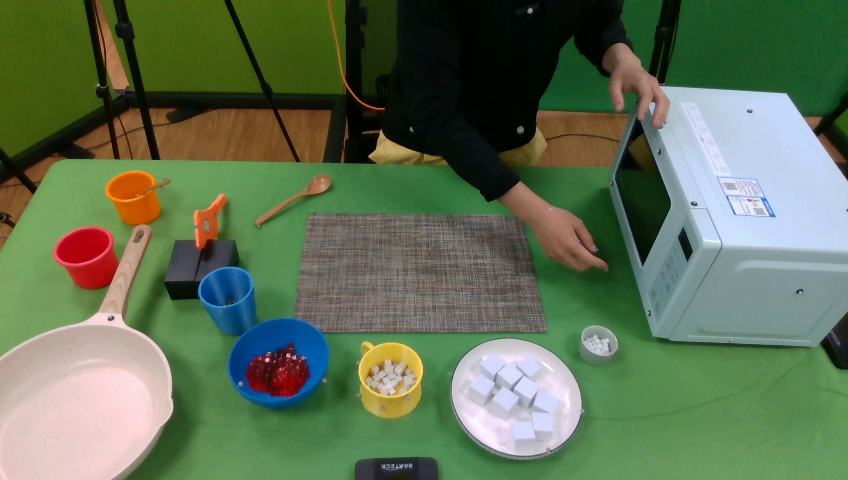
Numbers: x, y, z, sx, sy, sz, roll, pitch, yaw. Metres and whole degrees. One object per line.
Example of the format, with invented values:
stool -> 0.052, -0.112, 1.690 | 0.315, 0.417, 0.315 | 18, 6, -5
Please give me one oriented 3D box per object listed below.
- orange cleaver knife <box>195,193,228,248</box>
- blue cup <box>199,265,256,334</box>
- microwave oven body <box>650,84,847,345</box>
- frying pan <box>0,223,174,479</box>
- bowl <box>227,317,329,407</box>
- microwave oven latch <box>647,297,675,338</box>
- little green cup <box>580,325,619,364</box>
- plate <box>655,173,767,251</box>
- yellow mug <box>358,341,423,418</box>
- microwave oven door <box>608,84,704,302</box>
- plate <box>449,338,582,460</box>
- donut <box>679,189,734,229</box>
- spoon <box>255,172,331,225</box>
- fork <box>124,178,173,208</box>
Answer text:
orange cleaver knife -> -0.406, -0.041, 1.163 | 0.012, 0.077, 0.210 | 0, 18, -3
blue cup -> -0.321, 0.106, 1.014 | 0.093, 0.101, 0.092 | 2, 48, -2
microwave oven body -> 0.568, -0.054, 1.116 | 0.326, 0.261, 0.439 | 2, 46, -1
frying pan -> -0.505, 0.169, 0.941 | 0.307, 0.103, 0.485 | 5, 54, -1
bowl -> -0.222, 0.203, 0.947 | 0.151, 0.077, 0.150 | 2, 46, -2
microwave oven latch -> 0.413, 0.133, 1.060 | 0.030, 0.029, 0.078 | 5, 46, 2
little green cup -> 0.296, 0.180, 1.031 | 0.061, 0.039, 0.061 | 2, 45, -2
plate -> 0.556, -0.052, 1.187 | 0.209, 0.038, 0.208 | 2, 46, -2
yellow mug -> -0.063, 0.210, 0.961 | 0.100, 0.064, 0.130 | -29, 54, -27
microwave oven door -> 0.424, -0.096, 1.138 | 0.039, 0.245, 0.353 | 2, 46, -1
plate -> 0.141, 0.251, 0.955 | 0.208, 0.039, 0.206 | 2, 46, -2
donut -> 0.546, -0.062, 1.175 | 0.099, 0.048, 0.098 | 0, 44, 1
spoon -> -0.272, -0.087, 1.257 | 0.041, 0.022, 0.193 | 45, 57, 13
fork -> -0.525, -0.090, 1.154 | 0.207, 0.019, 0.028 | -17, 27, 45
